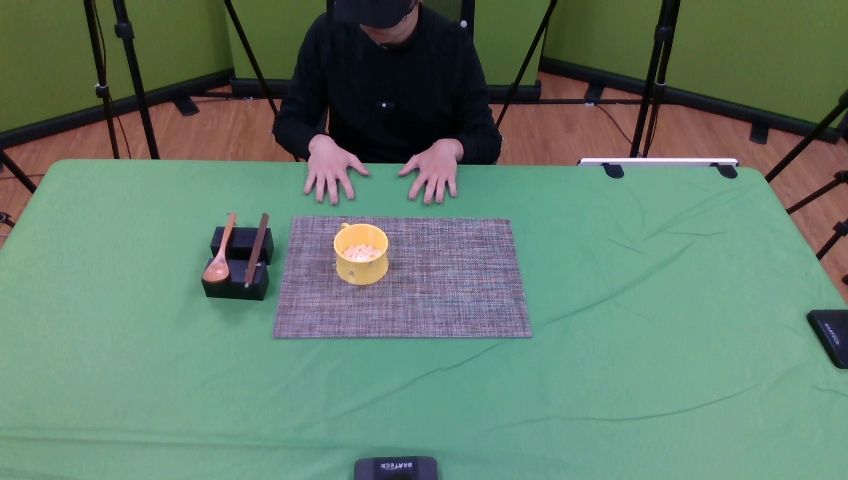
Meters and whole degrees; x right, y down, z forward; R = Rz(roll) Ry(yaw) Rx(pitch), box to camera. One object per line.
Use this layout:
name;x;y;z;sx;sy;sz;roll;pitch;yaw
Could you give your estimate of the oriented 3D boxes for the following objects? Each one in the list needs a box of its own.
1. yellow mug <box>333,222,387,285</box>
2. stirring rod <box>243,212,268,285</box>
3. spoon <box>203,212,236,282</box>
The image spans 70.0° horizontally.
yellow mug;-0.127;0.016;1.139;0.100;0.064;0.130;-23;51;-25
stirring rod;-0.305;0.012;1.101;0.014;0.006;0.175;31;38;-28
spoon;-0.361;0.009;1.097;0.041;0.022;0.192;0;44;-2
